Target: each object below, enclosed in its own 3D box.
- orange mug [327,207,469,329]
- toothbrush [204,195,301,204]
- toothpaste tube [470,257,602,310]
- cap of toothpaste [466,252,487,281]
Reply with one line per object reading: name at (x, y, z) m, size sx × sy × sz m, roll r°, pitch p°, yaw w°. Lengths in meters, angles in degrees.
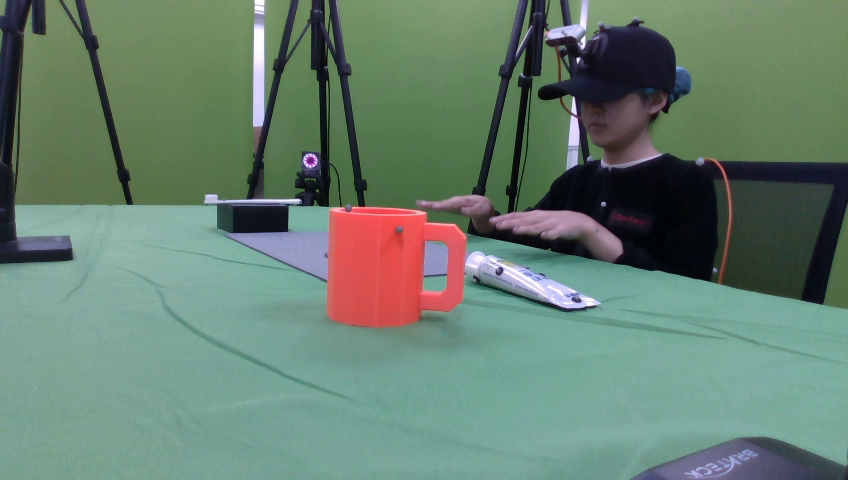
orange mug at (-0.024, 0.021, 0.535) m, size 0.126 × 0.100 × 0.083 m, roll -1°, pitch 6°, yaw 8°
toothbrush at (-0.314, -0.074, 1.120) m, size 0.183 × 0.016 × 0.014 m, roll -2°, pitch 4°, yaw -36°
toothpaste tube at (0.110, 0.049, 0.658) m, size 0.055 × 0.034 × 0.164 m, roll -8°, pitch 16°, yaw -37°
cap of toothpaste at (0.064, 0.032, 0.720) m, size 0.037 × 0.037 × 0.011 m, roll -3°, pitch 13°, yaw -39°
